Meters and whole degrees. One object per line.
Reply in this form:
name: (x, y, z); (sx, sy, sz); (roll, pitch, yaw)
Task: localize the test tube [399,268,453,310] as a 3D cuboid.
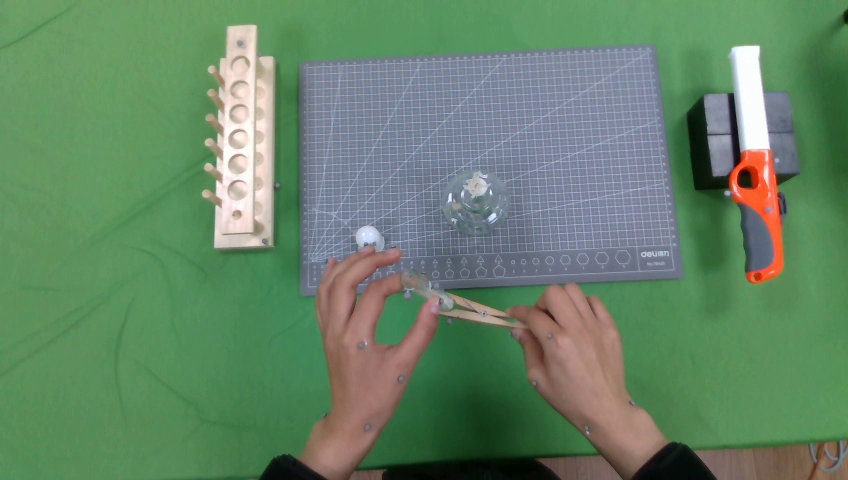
test tube: (0.005, 0.043, 0.507); (0.017, 0.151, 0.017); (-3, 77, 12)

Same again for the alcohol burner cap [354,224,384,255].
alcohol burner cap: (-0.065, -0.003, 0.703); (0.034, 0.048, 0.033); (0, 78, 1)

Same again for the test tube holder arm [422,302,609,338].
test tube holder arm: (0.086, 0.077, 0.583); (0.178, 0.015, 0.013); (9, 74, 7)

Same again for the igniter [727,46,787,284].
igniter: (0.368, -0.088, 0.677); (0.057, 0.025, 0.275); (0, 78, 7)

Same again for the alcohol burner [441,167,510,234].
alcohol burner: (0.058, -0.048, 0.674); (0.078, 0.119, 0.077); (0, 80, 2)

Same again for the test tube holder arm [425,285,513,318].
test tube holder arm: (0.044, 0.063, 0.590); (0.087, 0.015, 0.010); (18, 75, 10)

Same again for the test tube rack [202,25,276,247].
test tube rack: (-0.219, -0.118, 0.708); (0.067, 0.085, 0.241); (-2, 79, 1)
